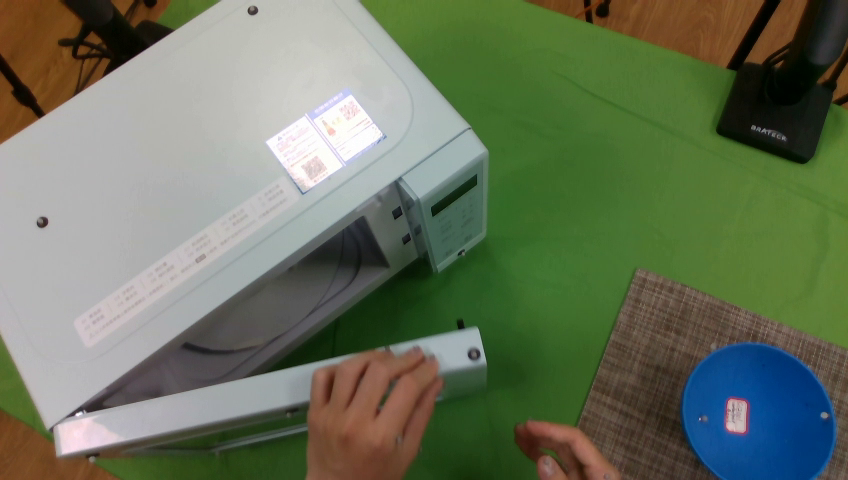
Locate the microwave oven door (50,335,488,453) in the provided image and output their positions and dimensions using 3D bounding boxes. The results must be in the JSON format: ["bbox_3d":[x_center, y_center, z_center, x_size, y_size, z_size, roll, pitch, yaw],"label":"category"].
[{"bbox_3d":[-0.117,0.156,0.591,0.356,0.245,0.039,-12,70,2],"label":"microwave oven door"}]

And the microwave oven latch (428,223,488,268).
[{"bbox_3d":[0.042,0.000,0.739,0.079,0.030,0.030,-35,73,-6],"label":"microwave oven latch"}]

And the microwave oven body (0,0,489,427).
[{"bbox_3d":[-0.197,-0.037,0.669,0.441,0.262,0.324,-37,73,-7],"label":"microwave oven body"}]

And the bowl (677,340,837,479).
[{"bbox_3d":[0.339,0.187,0.646,0.151,0.077,0.150,-1,71,5],"label":"bowl"}]
